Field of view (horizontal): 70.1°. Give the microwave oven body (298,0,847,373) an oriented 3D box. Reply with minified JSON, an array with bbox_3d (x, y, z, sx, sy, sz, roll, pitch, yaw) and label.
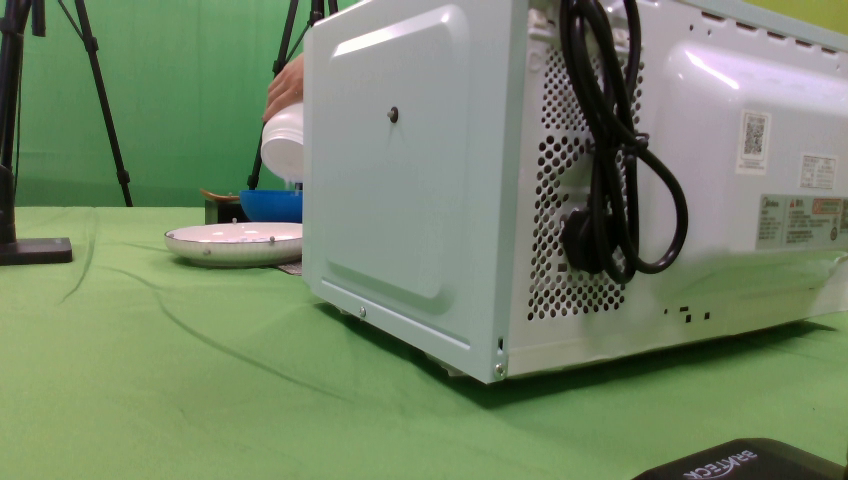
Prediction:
[{"bbox_3d":[0.151,-0.055,0.542,0.444,0.260,0.324,-2,7,-33],"label":"microwave oven body"}]

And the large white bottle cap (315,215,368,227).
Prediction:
[{"bbox_3d":[-0.177,-0.042,1.309,0.115,0.018,0.115,2,6,0],"label":"large white bottle cap"}]

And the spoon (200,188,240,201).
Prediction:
[{"bbox_3d":[-0.338,-0.080,1.190,0.194,0.021,0.041,5,4,-19],"label":"spoon"}]

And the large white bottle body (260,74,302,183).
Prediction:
[{"bbox_3d":[-0.225,-0.209,1.133,0.130,0.131,0.184,4,51,10],"label":"large white bottle body"}]

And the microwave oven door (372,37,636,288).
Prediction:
[{"bbox_3d":[0.110,-0.080,0.686,0.358,0.243,0.039,-2,9,-33],"label":"microwave oven door"}]

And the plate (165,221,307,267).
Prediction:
[{"bbox_3d":[-0.241,0.004,0.829,0.209,0.038,0.209,0,9,0],"label":"plate"}]

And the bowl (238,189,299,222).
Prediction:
[{"bbox_3d":[-0.245,-0.045,1.053,0.151,0.077,0.151,3,8,0],"label":"bowl"}]

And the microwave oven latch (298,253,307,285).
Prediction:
[{"bbox_3d":[-0.081,0.027,0.582,0.079,0.029,0.030,-1,7,-32],"label":"microwave oven latch"}]
